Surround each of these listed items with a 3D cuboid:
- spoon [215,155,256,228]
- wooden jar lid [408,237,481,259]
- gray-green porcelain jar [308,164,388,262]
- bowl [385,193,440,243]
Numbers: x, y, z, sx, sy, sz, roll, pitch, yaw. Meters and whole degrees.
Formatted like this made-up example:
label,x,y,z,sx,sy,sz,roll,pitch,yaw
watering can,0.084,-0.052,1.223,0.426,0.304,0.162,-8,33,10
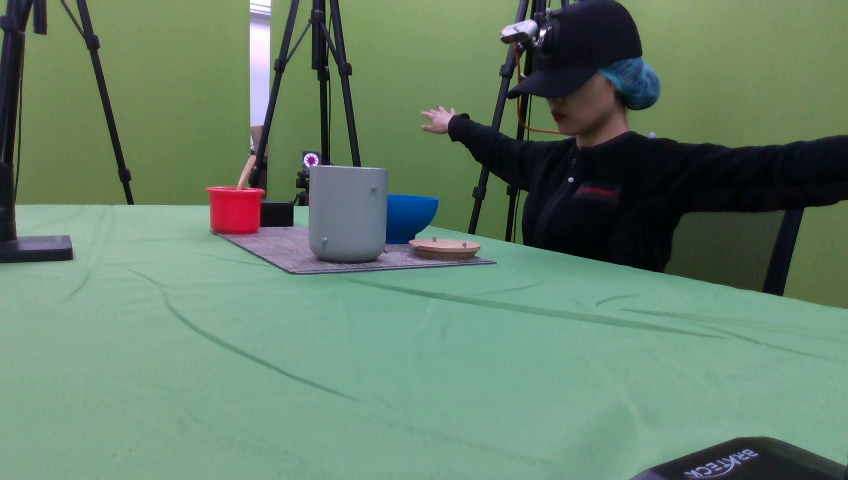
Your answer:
label,x,y,z,sx,sy,sz,roll,pitch,yaw
spoon,-0.332,-0.091,1.092,0.041,0.021,0.193,3,52,5
wooden jar lid,0.031,0.012,0.895,0.108,0.020,0.108,2,8,0
gray-green porcelain jar,-0.103,-0.038,0.818,0.106,0.126,0.106,2,7,0
bowl,-0.050,-0.038,1.033,0.151,0.077,0.151,3,7,0
